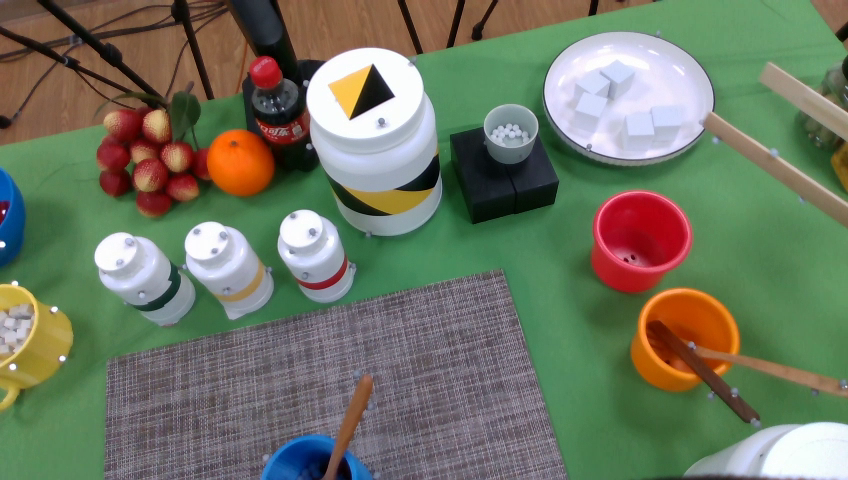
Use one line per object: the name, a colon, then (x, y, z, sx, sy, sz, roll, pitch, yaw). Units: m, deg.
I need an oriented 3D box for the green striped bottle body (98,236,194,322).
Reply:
green striped bottle body: (-0.299, 0.039, 0.648, 0.063, 0.120, 0.062, -1, 62, 3)

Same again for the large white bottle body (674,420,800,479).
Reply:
large white bottle body: (0.282, 0.217, 0.476, 0.130, 0.186, 0.129, -2, 62, 4)

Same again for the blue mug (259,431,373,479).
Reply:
blue mug: (-0.102, 0.234, 0.536, 0.082, 0.107, 0.116, 35, 70, 21)

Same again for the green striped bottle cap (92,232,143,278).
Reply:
green striped bottle cap: (-0.304, 0.015, 0.602, 0.044, 0.020, 0.044, 0, 62, 1)

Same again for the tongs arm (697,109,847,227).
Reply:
tongs arm: (0.410, -0.011, 0.522, 0.051, 0.027, 0.381, -37, 64, -16)

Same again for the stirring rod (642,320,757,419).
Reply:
stirring rod: (0.248, 0.113, 0.561, 0.014, 0.006, 0.175, -10, 19, -4)

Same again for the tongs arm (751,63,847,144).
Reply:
tongs arm: (0.448, -0.040, 0.534, 0.028, 0.028, 0.384, -32, 63, -17)

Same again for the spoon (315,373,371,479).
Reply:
spoon: (-0.073, 0.184, 0.512, 0.041, 0.195, 0.021, 33, 35, 21)

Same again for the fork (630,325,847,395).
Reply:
fork: (0.278, 0.107, 0.554, 0.028, 0.019, 0.206, -44, 23, -21)

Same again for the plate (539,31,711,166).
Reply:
plate: (0.249, -0.177, 0.767, 0.209, 0.038, 0.207, -1, 63, 3)

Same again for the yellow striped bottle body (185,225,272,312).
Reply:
yellow striped bottle body: (-0.211, 0.027, 0.647, 0.063, 0.121, 0.062, -2, 62, 4)

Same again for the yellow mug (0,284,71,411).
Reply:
yellow mug: (-0.450, 0.119, 0.648, 0.100, 0.064, 0.129, -4, 63, 1)

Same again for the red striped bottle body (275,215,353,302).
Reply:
red striped bottle body: (-0.118, 0.016, 0.647, 0.063, 0.121, 0.062, -3, 61, 6)

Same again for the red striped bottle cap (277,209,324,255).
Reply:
red striped bottle cap: (-0.123, -0.008, 0.600, 0.044, 0.018, 0.044, 0, 60, 0)

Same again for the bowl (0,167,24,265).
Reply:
bowl: (-0.538, -0.014, 0.716, 0.151, 0.077, 0.150, -1, 62, 3)

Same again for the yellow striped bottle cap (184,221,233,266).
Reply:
yellow striped bottle cap: (-0.214, 0.003, 0.602, 0.044, 0.019, 0.044, -1, 63, 3)

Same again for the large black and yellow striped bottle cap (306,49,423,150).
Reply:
large black and yellow striped bottle cap: (-0.059, -0.139, 0.592, 0.115, 0.019, 0.114, -2, 62, 4)

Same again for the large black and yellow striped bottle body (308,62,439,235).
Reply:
large black and yellow striped bottle body: (-0.052, -0.101, 0.667, 0.131, 0.185, 0.129, -2, 62, 4)

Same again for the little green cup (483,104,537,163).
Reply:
little green cup: (0.096, -0.120, 0.690, 0.061, 0.039, 0.061, -1, 60, 2)

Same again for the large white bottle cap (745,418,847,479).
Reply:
large white bottle cap: (0.276, 0.176, 0.402, 0.115, 0.018, 0.114, -2, 62, 3)
